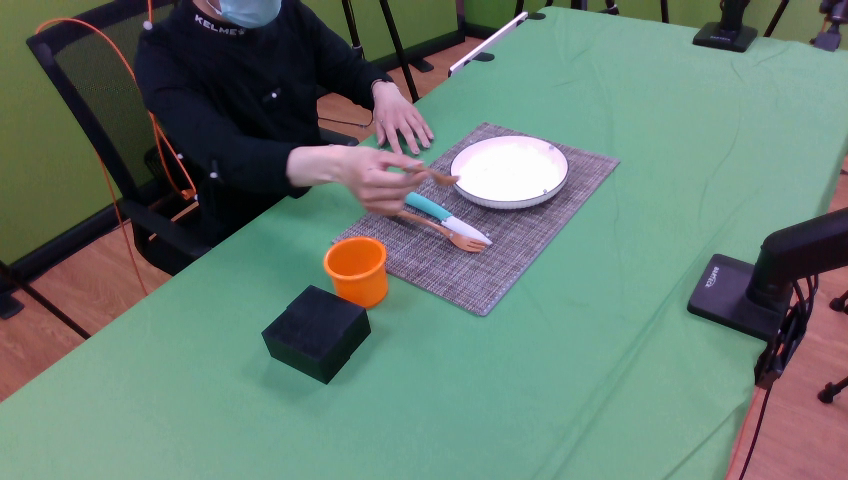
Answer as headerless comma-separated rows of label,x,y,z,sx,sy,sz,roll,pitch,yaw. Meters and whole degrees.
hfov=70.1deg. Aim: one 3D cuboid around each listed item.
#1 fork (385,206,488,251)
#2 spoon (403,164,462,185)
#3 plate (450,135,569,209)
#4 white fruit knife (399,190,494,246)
fork,0.015,-0.022,0.988,0.206,0.019,0.028,24,62,30
spoon,0.011,-0.100,0.893,0.041,0.021,0.195,-4,-4,23
plate,0.149,-0.117,1.066,0.209,0.038,0.208,-3,41,4
white fruit knife,0.036,-0.038,1.009,0.205,0.016,0.027,32,84,34
